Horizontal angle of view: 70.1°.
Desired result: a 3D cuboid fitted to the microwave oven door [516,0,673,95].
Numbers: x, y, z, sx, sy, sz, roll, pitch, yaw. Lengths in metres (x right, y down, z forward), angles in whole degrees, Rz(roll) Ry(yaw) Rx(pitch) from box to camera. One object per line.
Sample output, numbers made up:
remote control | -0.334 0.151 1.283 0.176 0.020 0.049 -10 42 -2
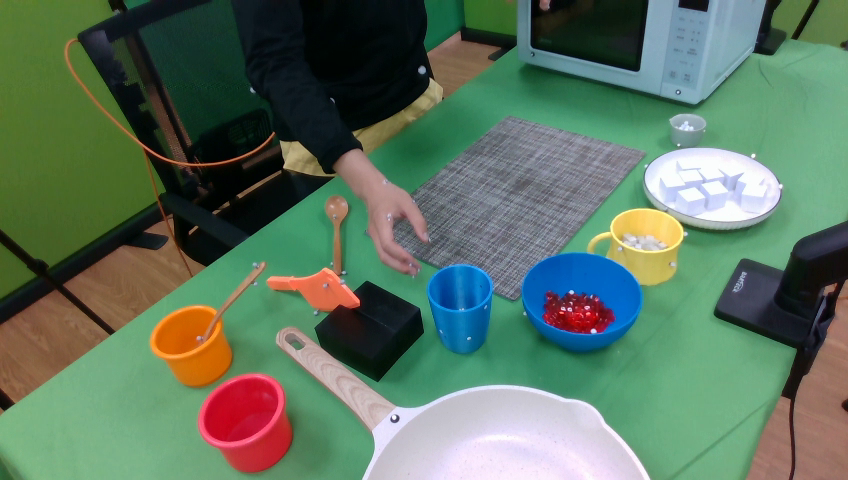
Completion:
microwave oven door | 0.344 -0.458 1.256 0.353 0.245 0.039 26 51 33

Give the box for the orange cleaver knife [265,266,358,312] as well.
orange cleaver knife | -0.164 0.073 0.864 0.210 0.077 0.012 -6 30 50

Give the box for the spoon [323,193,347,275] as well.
spoon | -0.148 -0.014 1.008 0.042 0.022 0.192 1 40 -10

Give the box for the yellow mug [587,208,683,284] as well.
yellow mug | 0.305 0.009 0.884 0.131 0.064 0.099 -4 40 5

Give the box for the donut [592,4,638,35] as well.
donut | 0.428 -0.492 1.352 0.099 0.048 0.098 -7 41 6

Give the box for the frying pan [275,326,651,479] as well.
frying pan | 0.004 0.229 0.641 0.484 0.103 0.308 34 54 28

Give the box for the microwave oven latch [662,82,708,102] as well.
microwave oven latch | 0.517 -0.298 1.202 0.078 0.029 0.030 27 52 34

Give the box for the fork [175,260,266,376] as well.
fork | -0.268 0.103 0.792 0.207 0.019 0.028 -51 41 16

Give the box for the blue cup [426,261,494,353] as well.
blue cup | 0.049 0.095 0.791 0.092 0.100 0.092 -3 42 3

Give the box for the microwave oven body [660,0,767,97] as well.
microwave oven body | 0.473 -0.516 1.314 0.438 0.261 0.327 26 51 34

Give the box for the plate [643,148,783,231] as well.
plate | 0.464 -0.080 0.986 0.207 0.039 0.206 -4 41 4

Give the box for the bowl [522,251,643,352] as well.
bowl | 0.204 0.093 0.792 0.151 0.077 0.150 -4 40 4

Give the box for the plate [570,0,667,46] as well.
plate | 0.436 -0.488 1.368 0.209 0.038 0.208 -5 40 4

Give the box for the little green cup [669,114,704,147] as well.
little green cup | 0.485 -0.203 1.123 0.061 0.039 0.061 -5 40 5
